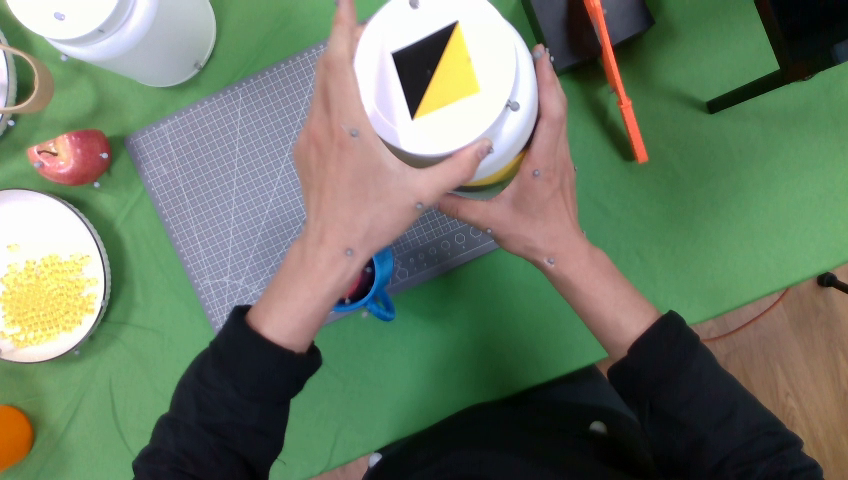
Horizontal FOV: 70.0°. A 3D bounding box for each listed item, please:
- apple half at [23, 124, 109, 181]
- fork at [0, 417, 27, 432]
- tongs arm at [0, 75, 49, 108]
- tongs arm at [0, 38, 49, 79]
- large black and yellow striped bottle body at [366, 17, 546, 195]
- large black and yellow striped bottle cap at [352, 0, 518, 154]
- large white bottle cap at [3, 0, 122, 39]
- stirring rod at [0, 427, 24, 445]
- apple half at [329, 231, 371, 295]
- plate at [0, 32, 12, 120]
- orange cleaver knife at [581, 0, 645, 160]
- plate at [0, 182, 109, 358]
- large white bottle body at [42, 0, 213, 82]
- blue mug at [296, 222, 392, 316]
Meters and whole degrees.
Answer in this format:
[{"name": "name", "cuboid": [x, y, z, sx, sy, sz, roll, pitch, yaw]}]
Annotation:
[{"name": "apple half", "cuboid": [-0.400, -0.095, 0.690, 0.081, 0.074, 0.053, -20, 97, 1]}, {"name": "fork", "cuboid": [-0.577, 0.242, 0.690, 0.208, 0.018, 0.028, -9, 94, -39]}, {"name": "tongs arm", "cuboid": [-0.612, -0.171, 0.681, 0.384, 0.026, 0.051, 5, 92, 5]}, {"name": "tongs arm", "cuboid": [-0.598, -0.254, 0.675, 0.387, 0.028, 0.028, 19, 89, 4]}, {"name": "large black and yellow striped bottle body", "cuboid": [0.028, -0.111, 0.495, 0.130, 0.185, 0.130, -1, 87, 15]}, {"name": "large black and yellow striped bottle cap", "cuboid": [0.006, -0.117, 0.414, 0.114, 0.019, 0.115, 0, 89, 14]}, {"name": "large white bottle cap", "cuboid": [-0.319, -0.237, 0.532, 0.115, 0.018, 0.115, 0, 95, 4]}, {"name": "stirring rod", "cuboid": [-0.561, 0.257, 0.693, 0.177, 0.006, 0.014, -18, 82, -35]}, {"name": "apple half", "cuboid": [-0.074, 0.025, 0.657, 0.032, 0.081, 0.081, 9, 95, 11]}, {"name": "plate", "cuboid": [-0.578, -0.197, 0.709, 0.207, 0.039, 0.208, 0, 95, 3]}, {"name": "orange cleaver knife", "cuboid": [0.196, -0.184, 0.642, 0.012, 0.076, 0.213, -21, 119, 14]}, {"name": "plate", "cuboid": [-0.473, 0.035, 0.723, 0.209, 0.038, 0.209, 0, 95, 4]}, {"name": "large white bottle body", "cuboid": [-0.312, -0.243, 0.616, 0.130, 0.184, 0.130, 0, 94, 4]}, {"name": "blue mug", "cuboid": [-0.075, 0.036, 0.663, 0.082, 0.106, 0.116, -39, 92, 6]}]
